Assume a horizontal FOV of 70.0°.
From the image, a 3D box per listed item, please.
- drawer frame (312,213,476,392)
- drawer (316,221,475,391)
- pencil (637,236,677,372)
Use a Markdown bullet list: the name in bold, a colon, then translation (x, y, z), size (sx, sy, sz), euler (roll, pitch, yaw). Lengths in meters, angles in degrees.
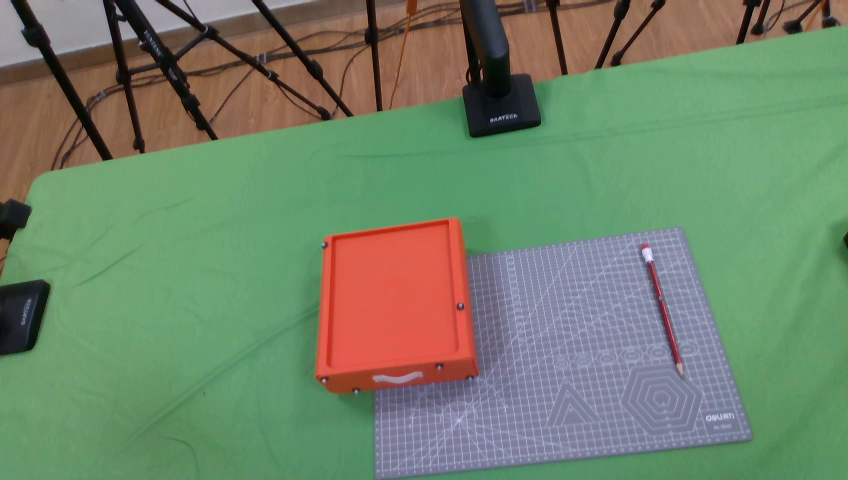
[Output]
- **drawer frame**: translation (-0.042, 0.085, 0.819), size (0.201, 0.083, 0.211), euler (-9, 57, 7)
- **drawer**: translation (-0.040, 0.087, 0.819), size (0.194, 0.074, 0.209), euler (-9, 57, 7)
- **pencil**: translation (0.308, 0.081, 0.799), size (0.012, 0.012, 0.192), euler (-7, 61, 7)
